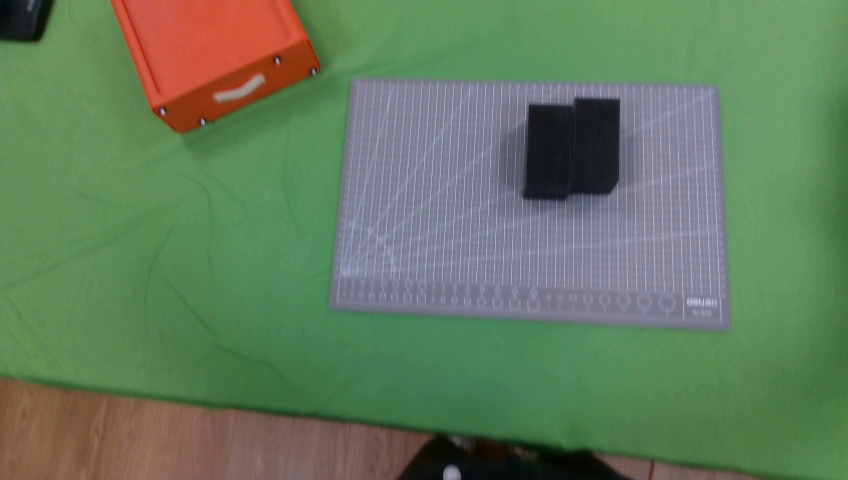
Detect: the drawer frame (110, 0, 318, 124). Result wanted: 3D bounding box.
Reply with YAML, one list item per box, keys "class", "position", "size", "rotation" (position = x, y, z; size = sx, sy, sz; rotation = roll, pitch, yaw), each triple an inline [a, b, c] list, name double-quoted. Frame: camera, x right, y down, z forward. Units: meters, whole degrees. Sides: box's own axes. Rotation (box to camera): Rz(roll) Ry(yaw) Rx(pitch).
- class: "drawer frame"
  position: [-0.267, -0.282, 0.750]
  size: [0.202, 0.083, 0.212]
  rotation: [-27, 76, -2]

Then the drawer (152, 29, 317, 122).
- class: "drawer"
  position: [-0.266, -0.281, 0.751]
  size: [0.194, 0.073, 0.210]
  rotation: [-26, 77, -1]

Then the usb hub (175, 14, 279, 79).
- class: "usb hub"
  position: [-0.246, -0.242, 0.755]
  size: [0.125, 0.025, 0.049]
  rotation: [-12, 77, 7]
